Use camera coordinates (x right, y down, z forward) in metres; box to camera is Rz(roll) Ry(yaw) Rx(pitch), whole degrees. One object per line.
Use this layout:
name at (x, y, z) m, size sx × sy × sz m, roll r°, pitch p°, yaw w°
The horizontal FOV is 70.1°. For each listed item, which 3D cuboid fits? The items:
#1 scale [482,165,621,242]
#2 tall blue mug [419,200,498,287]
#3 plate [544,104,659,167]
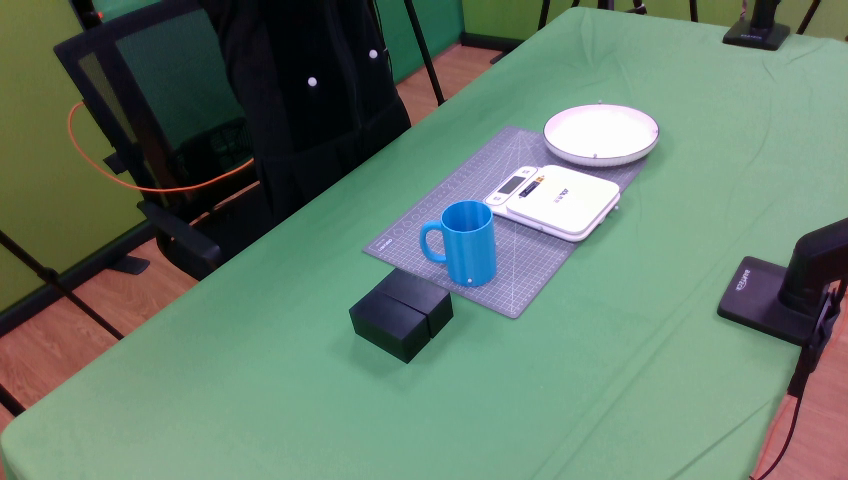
scale at (0.211, -0.070, 1.014) m, size 0.199 × 0.032 × 0.149 m, roll 23°, pitch 49°, yaw 33°
tall blue mug at (0.053, 0.010, 0.889) m, size 0.107 × 0.108 × 0.077 m, roll -15°, pitch 41°, yaw -7°
plate at (0.328, -0.192, 1.131) m, size 0.209 × 0.038 × 0.208 m, roll -4°, pitch 39°, yaw 4°
